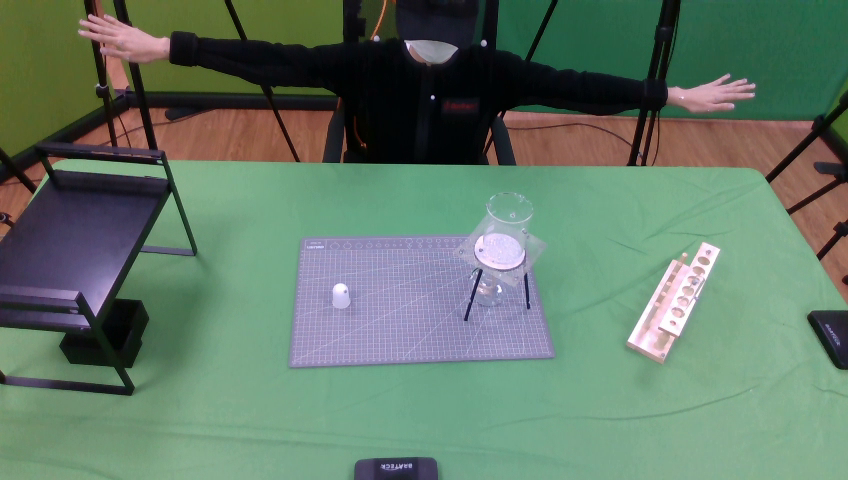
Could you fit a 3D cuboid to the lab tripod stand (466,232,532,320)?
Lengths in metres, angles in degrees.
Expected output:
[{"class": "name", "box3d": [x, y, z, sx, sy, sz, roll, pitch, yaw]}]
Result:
[{"class": "lab tripod stand", "box3d": [0.125, 0.059, 1.065, 0.148, 0.132, 0.147, 1, 45, 0]}]

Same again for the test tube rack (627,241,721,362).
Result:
[{"class": "test tube rack", "box3d": [0.452, 0.098, 1.087, 0.066, 0.085, 0.242, 28, 51, 22]}]

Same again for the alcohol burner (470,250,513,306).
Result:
[{"class": "alcohol burner", "box3d": [0.121, 0.062, 1.076, 0.078, 0.120, 0.077, 1, 47, 0]}]

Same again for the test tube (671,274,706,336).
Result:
[{"class": "test tube", "box3d": [0.429, 0.112, 1.003, 0.017, 0.151, 0.017, 4, 43, -4]}]

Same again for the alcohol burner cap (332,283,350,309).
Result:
[{"class": "alcohol burner cap", "box3d": [-0.148, 0.096, 1.075, 0.034, 0.048, 0.033, 3, 47, -3]}]

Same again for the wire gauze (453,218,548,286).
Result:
[{"class": "wire gauze", "box3d": [0.129, 0.014, 1.019, 0.124, 0.011, 0.121, 25, 47, 25]}]

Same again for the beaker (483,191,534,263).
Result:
[{"class": "beaker", "box3d": [0.135, -0.020, 0.983, 0.073, 0.101, 0.084, 28, 50, 23]}]
